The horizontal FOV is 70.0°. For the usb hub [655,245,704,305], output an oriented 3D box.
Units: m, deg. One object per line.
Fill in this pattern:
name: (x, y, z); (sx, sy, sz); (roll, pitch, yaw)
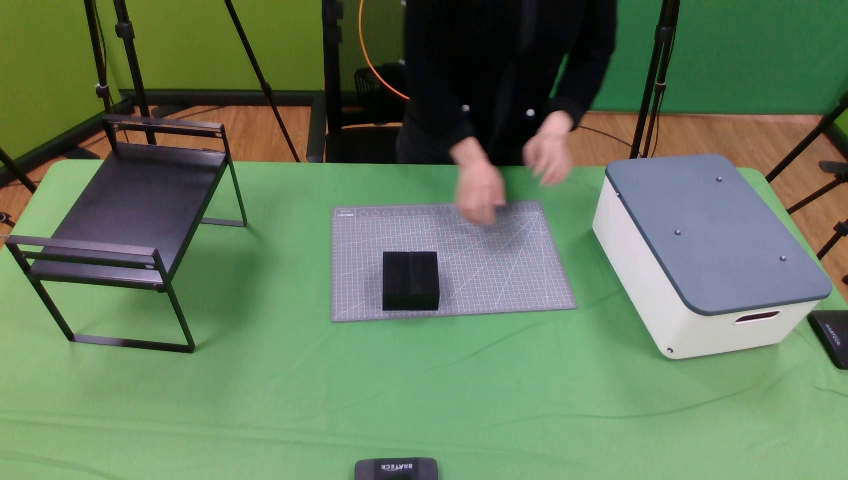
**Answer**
usb hub: (0.481, 0.065, 1.148); (0.049, 0.025, 0.124); (-1, 52, -8)

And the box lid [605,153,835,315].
box lid: (0.499, -0.030, 1.060); (0.264, 0.015, 0.369); (-6, 47, -10)

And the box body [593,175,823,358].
box body: (0.496, 0.023, 1.112); (0.254, 0.161, 0.361); (-7, 47, -10)
